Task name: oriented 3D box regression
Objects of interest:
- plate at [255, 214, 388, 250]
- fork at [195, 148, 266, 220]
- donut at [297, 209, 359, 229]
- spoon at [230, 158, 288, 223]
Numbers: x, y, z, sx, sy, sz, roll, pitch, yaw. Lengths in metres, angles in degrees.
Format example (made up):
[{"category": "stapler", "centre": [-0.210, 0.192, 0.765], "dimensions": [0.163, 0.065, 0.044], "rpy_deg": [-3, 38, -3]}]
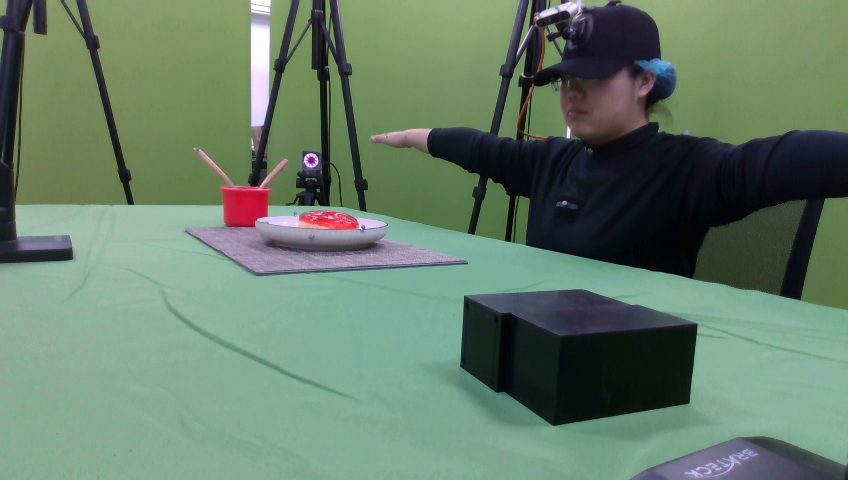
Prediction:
[{"category": "plate", "centre": [-0.161, -0.013, 0.961], "dimensions": [0.209, 0.038, 0.209], "rpy_deg": [2, 7, 0]}, {"category": "fork", "centre": [-0.386, -0.110, 1.199], "dimensions": [0.028, 0.207, 0.018], "rpy_deg": [-38, -6, -39]}, {"category": "donut", "centre": [-0.151, -0.023, 0.955], "dimensions": [0.099, 0.048, 0.099], "rpy_deg": [6, 7, 0]}, {"category": "spoon", "centre": [-0.322, -0.101, 1.206], "dimensions": [0.041, 0.022, 0.194], "rpy_deg": [13, 55, 21]}]
